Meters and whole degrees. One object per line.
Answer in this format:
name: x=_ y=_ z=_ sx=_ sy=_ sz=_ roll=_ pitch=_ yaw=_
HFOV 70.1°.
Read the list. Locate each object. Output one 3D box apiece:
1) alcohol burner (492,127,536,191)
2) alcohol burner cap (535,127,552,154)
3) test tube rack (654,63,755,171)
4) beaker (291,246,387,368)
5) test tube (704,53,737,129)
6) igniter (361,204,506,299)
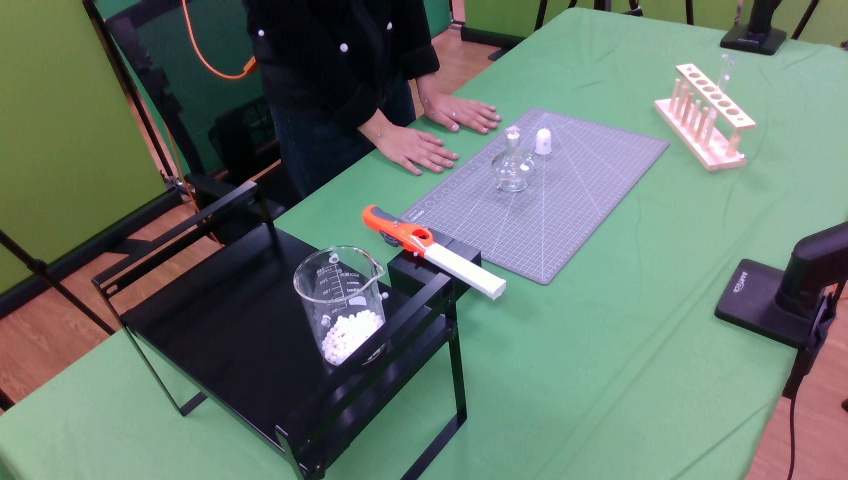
alcohol burner: x=0.156 y=-0.146 z=1.046 sx=0.078 sy=0.119 sz=0.077 roll=-4 pitch=43 yaw=4
alcohol burner cap: x=0.227 y=-0.190 z=1.141 sx=0.034 sy=0.048 sz=0.033 roll=-3 pitch=39 yaw=3
test tube rack: x=0.510 y=-0.233 z=1.120 sx=0.067 sy=0.085 sz=0.241 roll=-8 pitch=41 yaw=-1
beaker: x=-0.073 y=0.066 z=0.573 sx=0.084 sy=0.101 sz=0.073 roll=-7 pitch=41 yaw=0
test tube: x=0.526 y=-0.261 z=1.075 sx=0.017 sy=0.151 sz=0.017 roll=-2 pitch=44 yaw=2
igniter: x=0.003 y=0.009 z=0.887 sx=0.274 sy=0.025 sz=0.057 roll=30 pitch=50 yaw=33
